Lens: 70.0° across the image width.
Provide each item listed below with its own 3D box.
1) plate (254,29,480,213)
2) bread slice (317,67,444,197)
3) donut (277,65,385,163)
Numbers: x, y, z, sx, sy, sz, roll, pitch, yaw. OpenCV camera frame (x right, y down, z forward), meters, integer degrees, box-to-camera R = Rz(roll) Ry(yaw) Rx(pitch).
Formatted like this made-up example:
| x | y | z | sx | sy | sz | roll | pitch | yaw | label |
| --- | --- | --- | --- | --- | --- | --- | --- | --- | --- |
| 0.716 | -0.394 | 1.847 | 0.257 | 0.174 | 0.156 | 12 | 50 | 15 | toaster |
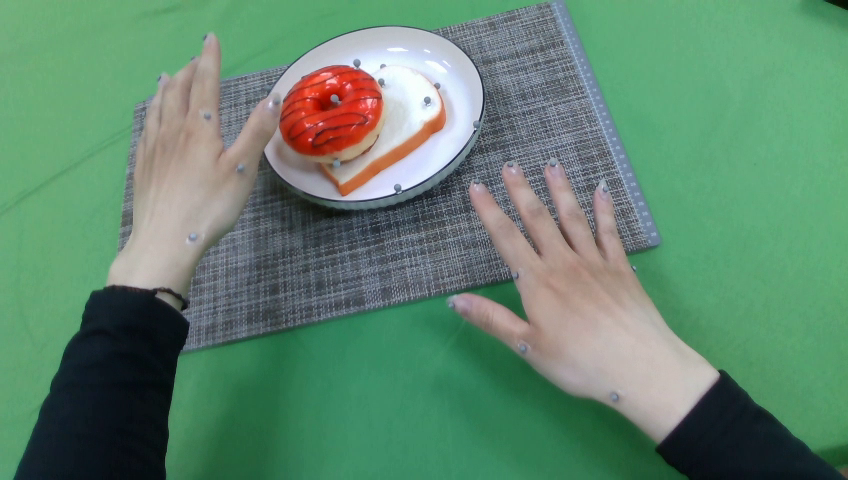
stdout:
| x | y | z | sx | sy | sz | roll | pitch | yaw | label |
| --- | --- | --- | --- | --- | --- | --- | --- | --- | --- |
| -0.051 | -0.108 | 0.559 | 0.207 | 0.039 | 0.206 | -4 | 60 | 8 | plate |
| -0.050 | -0.110 | 0.563 | 0.131 | 0.019 | 0.104 | -36 | 60 | -9 | bread slice |
| -0.083 | -0.112 | 0.534 | 0.099 | 0.049 | 0.098 | -6 | 61 | 11 | donut |
